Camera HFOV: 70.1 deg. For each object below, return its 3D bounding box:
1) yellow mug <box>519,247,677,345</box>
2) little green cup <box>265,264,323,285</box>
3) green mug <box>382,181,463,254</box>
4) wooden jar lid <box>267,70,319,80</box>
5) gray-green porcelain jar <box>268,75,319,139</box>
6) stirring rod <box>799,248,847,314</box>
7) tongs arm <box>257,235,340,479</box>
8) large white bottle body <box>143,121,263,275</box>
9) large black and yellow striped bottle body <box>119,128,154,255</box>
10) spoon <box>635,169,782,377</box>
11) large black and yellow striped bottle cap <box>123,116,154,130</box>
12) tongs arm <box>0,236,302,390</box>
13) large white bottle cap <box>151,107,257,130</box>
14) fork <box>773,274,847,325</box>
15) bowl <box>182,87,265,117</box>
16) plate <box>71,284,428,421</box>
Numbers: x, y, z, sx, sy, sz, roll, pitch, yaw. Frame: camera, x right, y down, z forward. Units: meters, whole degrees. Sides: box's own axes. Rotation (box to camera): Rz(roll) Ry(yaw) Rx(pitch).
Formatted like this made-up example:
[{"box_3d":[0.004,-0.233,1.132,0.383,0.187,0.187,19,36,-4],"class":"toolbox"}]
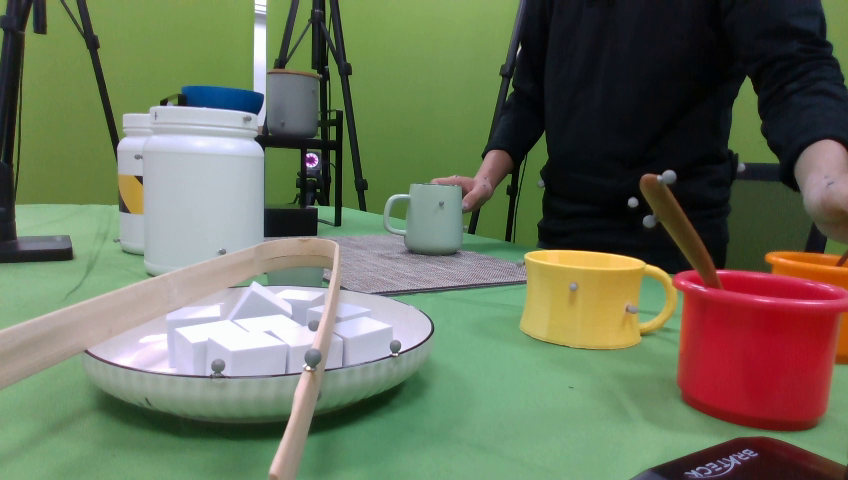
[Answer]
[{"box_3d":[0.148,0.045,0.513,0.131,0.064,0.100,3,7,0],"class":"yellow mug"},{"box_3d":[-0.134,0.033,0.628,0.061,0.038,0.061,3,7,0],"class":"little green cup"},{"box_3d":[-0.001,-0.036,0.922,0.126,0.105,0.092,0,8,-16],"class":"green mug"},{"box_3d":[-0.275,-0.339,1.271,0.108,0.020,0.108,5,6,0],"class":"wooden jar lid"},{"box_3d":[-0.277,-0.279,1.280,0.106,0.126,0.106,2,8,0],"class":"gray-green porcelain jar"},{"box_3d":[0.349,-0.004,0.482,0.006,0.176,0.014,34,27,25],"class":"stirring rod"},{"box_3d":[-0.074,0.040,0.345,0.051,0.026,0.384,-1,9,-3],"class":"tongs arm"},{"box_3d":[-0.254,-0.054,0.702,0.131,0.184,0.130,2,8,0],"class":"large white bottle body"},{"box_3d":[-0.355,-0.076,0.850,0.131,0.184,0.130,2,8,0],"class":"large black and yellow striped bottle body"},{"box_3d":[0.161,0.026,0.346,0.021,0.194,0.041,-51,32,-19],"class":"spoon"},{"box_3d":[-0.353,-0.159,0.838,0.115,0.019,0.115,2,6,0],"class":"large black and yellow striped bottle cap"},{"box_3d":[-0.157,0.037,0.347,0.028,0.028,0.388,-2,8,11],"class":"tongs arm"},{"box_3d":[-0.250,-0.138,0.692,0.115,0.018,0.115,3,7,0],"class":"large white bottle cap"},{"box_3d":[0.332,0.018,0.443,0.028,0.018,0.207,-1,-36,-14],"class":"fork"},{"box_3d":[-0.383,-0.244,1.158,0.151,0.077,0.151,2,7,0],"class":"bowl"},{"box_3d":[-0.102,0.067,0.381,0.208,0.039,0.207,3,7,0],"class":"plate"}]
